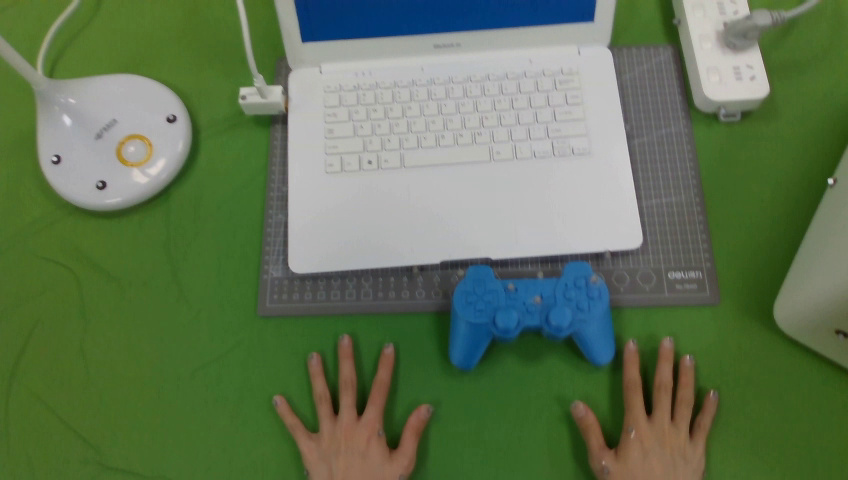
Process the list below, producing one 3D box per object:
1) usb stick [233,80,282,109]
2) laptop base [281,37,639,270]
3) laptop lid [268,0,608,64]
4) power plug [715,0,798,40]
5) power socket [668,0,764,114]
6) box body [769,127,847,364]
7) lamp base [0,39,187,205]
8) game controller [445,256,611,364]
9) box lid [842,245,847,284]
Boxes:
[{"bbox_3d":[-0.170,-0.154,0.644,0.059,0.027,0.021,0,67,-2],"label":"usb stick"},{"bbox_3d":[0.029,-0.094,0.633,0.354,0.023,0.234,-5,76,0],"label":"laptop base"},{"bbox_3d":[0.013,-0.293,0.590,0.357,0.244,0.013,-6,41,1],"label":"laptop lid"},{"bbox_3d":[0.344,-0.224,0.634,0.072,0.053,0.035,8,72,2],"label":"power plug"},{"bbox_3d":[0.313,-0.246,0.665,0.072,0.033,0.225,-3,72,-1],"label":"power socket"},{"bbox_3d":[0.504,-0.031,0.525,0.253,0.161,0.363,30,76,10],"label":"box body"},{"bbox_3d":[-0.347,-0.140,0.574,0.178,0.181,0.160,24,74,12],"label":"lamp base"},{"bbox_3d":[0.097,0.064,0.567,0.155,0.052,0.096,-2,71,1],"label":"game controller"},{"bbox_3d":[0.503,-0.055,0.455,0.262,0.015,0.370,30,77,11],"label":"box lid"}]
